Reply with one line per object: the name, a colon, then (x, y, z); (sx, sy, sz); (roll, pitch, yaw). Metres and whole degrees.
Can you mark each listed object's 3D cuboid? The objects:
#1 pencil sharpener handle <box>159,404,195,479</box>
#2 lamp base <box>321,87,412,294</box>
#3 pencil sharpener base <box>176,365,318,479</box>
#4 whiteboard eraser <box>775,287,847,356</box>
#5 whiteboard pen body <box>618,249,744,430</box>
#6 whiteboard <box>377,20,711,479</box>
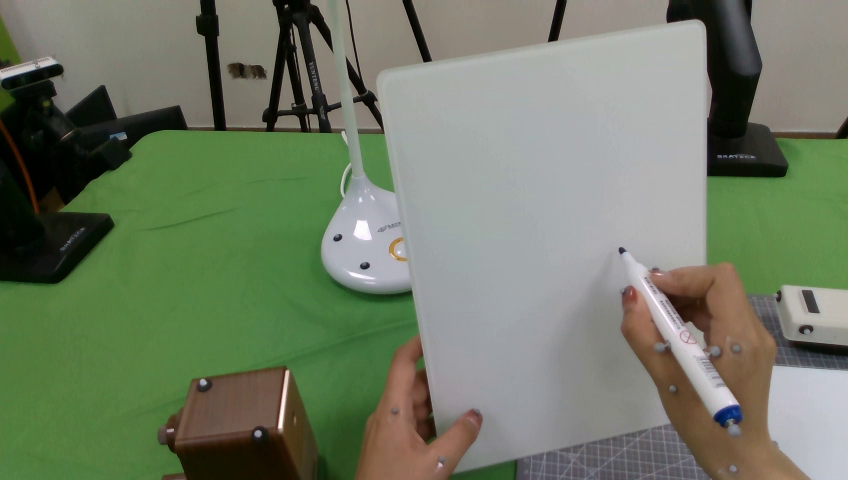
pencil sharpener handle: (-0.177, 0.149, 0.428); (0.030, 0.068, 0.035); (-7, 25, 0)
lamp base: (-0.050, -0.062, 0.643); (0.161, 0.182, 0.177); (-28, 40, -26)
pencil sharpener base: (-0.125, 0.150, 0.439); (0.077, 0.108, 0.060); (-7, 38, -1)
whiteboard eraser: (0.370, 0.073, 0.523); (0.112, 0.042, 0.055); (5, 40, 14)
whiteboard pen body: (0.150, 0.052, 0.370); (0.017, 0.017, 0.139); (-11, 43, -6)
whiteboard: (0.091, 0.002, 0.488); (0.217, 0.307, 0.143); (-10, 19, -5)
